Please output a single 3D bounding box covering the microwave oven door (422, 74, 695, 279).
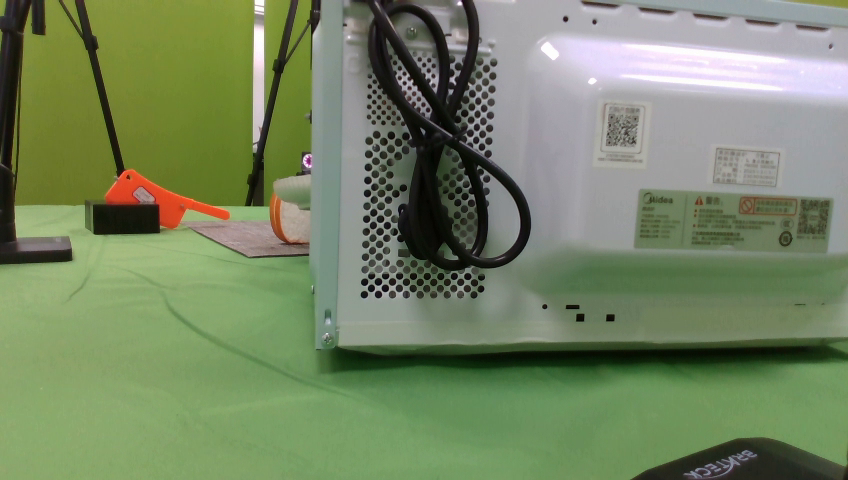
[{"bbox_3d":[0.159,-0.091,0.806,0.354,0.243,0.039,7,9,31],"label":"microwave oven door"}]

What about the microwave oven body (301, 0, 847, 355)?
[{"bbox_3d":[0.120,-0.053,0.535,0.443,0.260,0.325,2,7,-11],"label":"microwave oven body"}]

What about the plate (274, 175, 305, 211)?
[{"bbox_3d":[-0.093,-0.061,0.809,0.208,0.039,0.207,-3,0,0],"label":"plate"}]

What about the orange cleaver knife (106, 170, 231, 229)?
[{"bbox_3d":[-0.458,-0.060,1.097,0.212,0.077,0.012,23,-4,-38],"label":"orange cleaver knife"}]

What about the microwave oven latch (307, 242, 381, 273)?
[{"bbox_3d":[-0.086,0.019,0.656,0.079,0.029,0.030,2,7,-10],"label":"microwave oven latch"}]

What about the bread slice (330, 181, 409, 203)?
[{"bbox_3d":[-0.069,-0.063,0.808,0.107,0.018,0.134,-6,2,-11],"label":"bread slice"}]
